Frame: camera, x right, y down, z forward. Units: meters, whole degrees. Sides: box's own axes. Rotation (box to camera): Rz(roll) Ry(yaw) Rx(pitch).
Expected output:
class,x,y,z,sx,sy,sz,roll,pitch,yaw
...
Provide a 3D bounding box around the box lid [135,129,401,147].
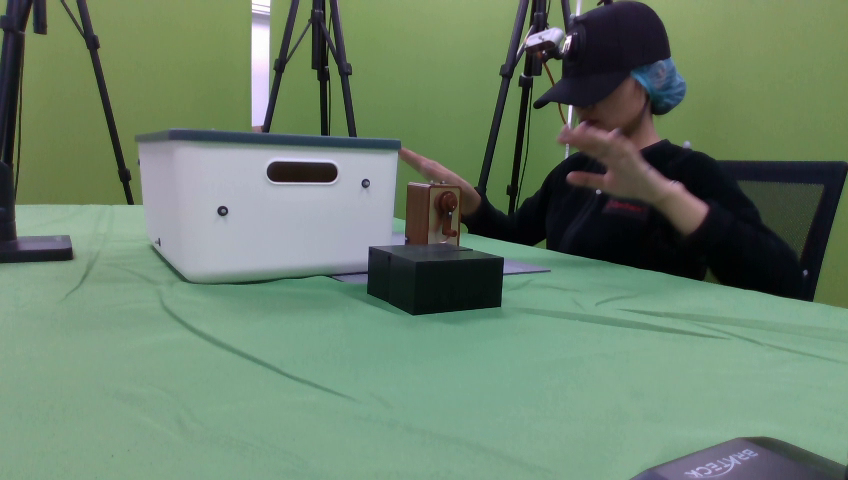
class,x,y,z,sx,sy,sz,roll,pitch,yaw
box lid,-0.220,-0.129,0.795,0.265,0.015,0.369,-4,9,-31

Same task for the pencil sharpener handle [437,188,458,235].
class,x,y,z,sx,sy,sz,roll,pitch,yaw
pencil sharpener handle,0.041,-0.041,0.877,0.036,0.067,0.030,1,7,-30

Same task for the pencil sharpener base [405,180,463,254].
class,x,y,z,sx,sy,sz,roll,pitch,yaw
pencil sharpener base,0.016,-0.035,0.922,0.061,0.107,0.076,-2,9,-30

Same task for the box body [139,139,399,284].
class,x,y,z,sx,sy,sz,roll,pitch,yaw
box body,-0.222,-0.056,0.807,0.255,0.160,0.362,-3,9,-31
